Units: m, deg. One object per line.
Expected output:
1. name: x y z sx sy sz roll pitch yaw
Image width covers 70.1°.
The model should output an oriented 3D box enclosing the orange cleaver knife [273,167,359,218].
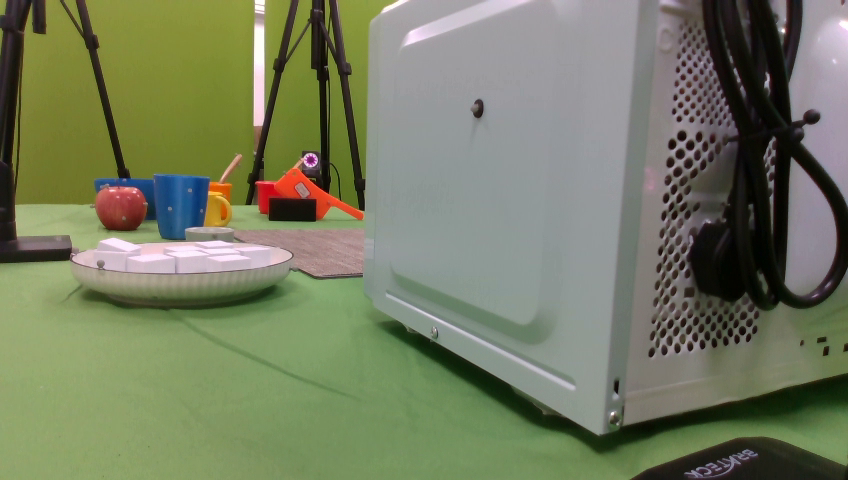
1. orange cleaver knife: -0.238 -0.091 1.381 0.212 0.077 0.012 31 0 -19

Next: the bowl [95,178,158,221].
1. bowl: -0.576 -0.081 1.217 0.151 0.077 0.151 3 8 0

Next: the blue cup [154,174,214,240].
1. blue cup: -0.391 -0.053 0.978 0.093 0.100 0.092 3 6 0

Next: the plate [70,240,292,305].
1. plate: -0.242 0.031 0.618 0.208 0.039 0.207 2 8 0

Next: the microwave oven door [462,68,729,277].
1. microwave oven door: 0.205 -0.096 0.811 0.354 0.243 0.039 9 11 40

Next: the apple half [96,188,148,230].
1. apple half: -0.517 -0.052 1.036 0.081 0.074 0.053 2 10 -26

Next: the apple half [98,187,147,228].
1. apple half: -0.534 -0.059 1.071 0.082 0.081 0.032 -1 11 -25

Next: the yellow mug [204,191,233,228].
1. yellow mug: -0.415 -0.057 1.131 0.130 0.064 0.100 6 8 16

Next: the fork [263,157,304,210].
1. fork: -0.345 -0.143 1.505 0.028 0.019 0.207 -3 46 28

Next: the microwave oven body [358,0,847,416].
1. microwave oven body: 0.211 -0.047 0.474 0.444 0.260 0.324 -1 7 -28

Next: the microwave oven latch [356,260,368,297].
1. microwave oven latch: -0.020 0.033 0.530 0.079 0.029 0.030 0 7 -26

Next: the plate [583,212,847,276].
1. plate: 0.239 0.000 0.510 0.209 0.038 0.209 2 6 0

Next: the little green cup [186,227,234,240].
1. little green cup: -0.285 0.005 0.805 0.061 0.038 0.061 2 8 0

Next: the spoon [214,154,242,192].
1. spoon: -0.439 -0.124 1.318 0.041 0.193 0.022 6 -36 15
